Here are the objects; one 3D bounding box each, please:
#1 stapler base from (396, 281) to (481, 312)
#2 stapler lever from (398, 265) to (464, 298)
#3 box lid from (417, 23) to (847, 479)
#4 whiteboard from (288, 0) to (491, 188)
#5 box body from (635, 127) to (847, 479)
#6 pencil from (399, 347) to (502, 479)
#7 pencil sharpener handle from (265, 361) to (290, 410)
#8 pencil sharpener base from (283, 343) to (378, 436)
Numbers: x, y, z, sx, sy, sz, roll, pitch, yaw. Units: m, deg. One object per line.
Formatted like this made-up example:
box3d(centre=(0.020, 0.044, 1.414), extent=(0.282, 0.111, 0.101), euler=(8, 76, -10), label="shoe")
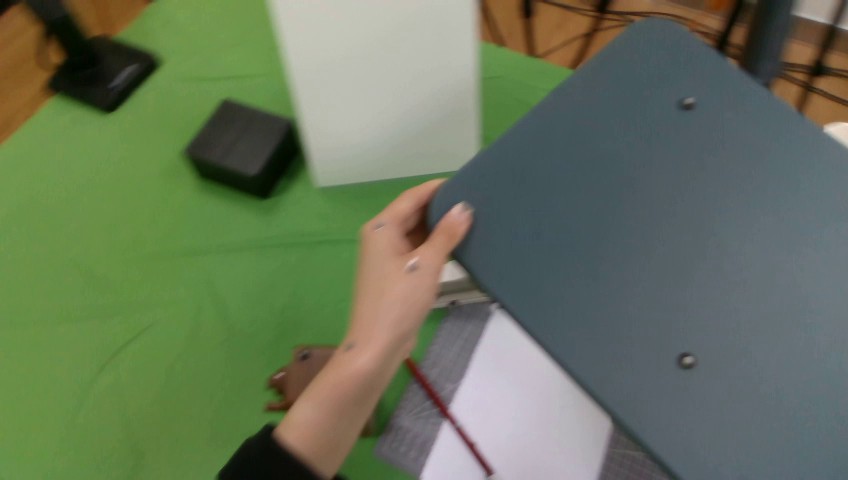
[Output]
box3d(centre=(0.033, 0.052, 0.691), extent=(0.130, 0.024, 0.041), euler=(-8, 55, -1), label="stapler base")
box3d(centre=(0.030, 0.039, 0.670), extent=(0.118, 0.040, 0.026), euler=(-8, 54, -2), label="stapler lever")
box3d(centre=(0.202, 0.020, 0.409), extent=(0.263, 0.015, 0.369), euler=(-43, 74, -14), label="box lid")
box3d(centre=(-0.039, -0.241, 0.741), extent=(0.217, 0.308, 0.142), euler=(-6, 40, -4), label="whiteboard")
box3d(centre=(0.410, 0.095, 0.588), extent=(0.254, 0.161, 0.360), euler=(-19, 61, -12), label="box body")
box3d(centre=(0.028, 0.183, 0.621), extent=(0.012, 0.012, 0.192), euler=(-31, 62, -17), label="pencil")
box3d(centre=(-0.140, 0.141, 0.575), extent=(0.030, 0.068, 0.035), euler=(2, 45, 2), label="pencil sharpener handle")
box3d(centre=(-0.088, 0.146, 0.587), extent=(0.077, 0.108, 0.061), euler=(2, 59, 1), label="pencil sharpener base")
